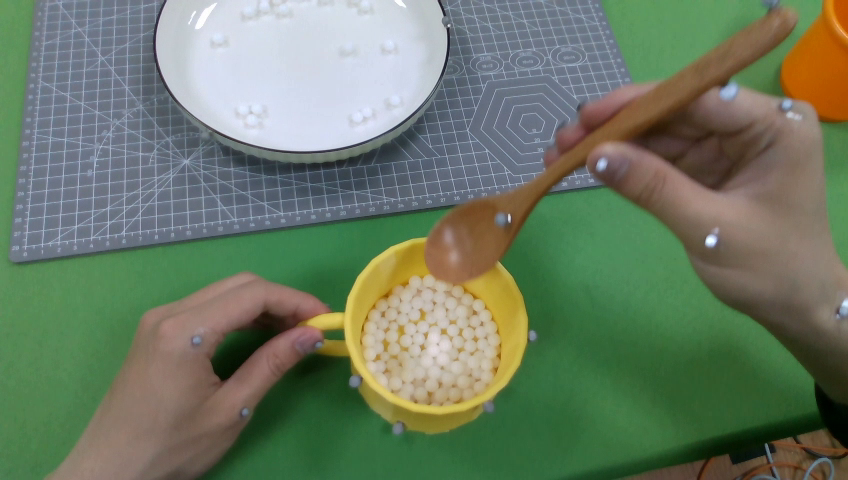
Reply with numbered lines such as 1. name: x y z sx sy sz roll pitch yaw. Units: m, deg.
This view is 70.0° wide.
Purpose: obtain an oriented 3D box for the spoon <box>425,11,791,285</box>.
1. spoon: 0.063 -0.030 0.266 0.022 0.194 0.041 4 61 -37

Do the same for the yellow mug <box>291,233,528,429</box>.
1. yellow mug: -0.011 0.054 0.350 0.131 0.064 0.099 0 65 -4

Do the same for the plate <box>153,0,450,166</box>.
1. plate: -0.085 -0.139 0.445 0.208 0.039 0.206 2 65 -4
